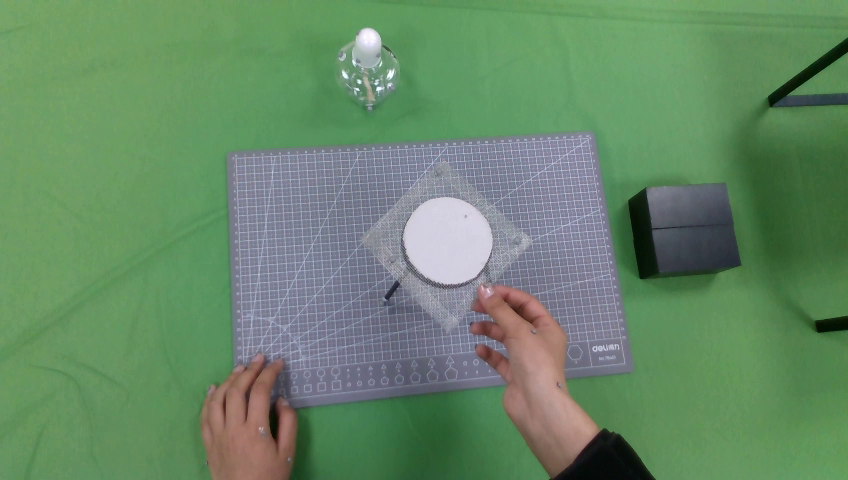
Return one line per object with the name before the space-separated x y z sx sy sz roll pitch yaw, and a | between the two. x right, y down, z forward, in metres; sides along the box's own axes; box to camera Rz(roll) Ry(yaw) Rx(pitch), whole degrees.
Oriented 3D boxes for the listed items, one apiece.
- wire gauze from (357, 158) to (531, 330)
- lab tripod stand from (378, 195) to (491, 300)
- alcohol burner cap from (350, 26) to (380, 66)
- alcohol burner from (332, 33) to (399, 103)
wire gauze | 0.020 0.000 0.578 0.125 0.011 0.121 45 77 4
lab tripod stand | 0.018 0.015 0.644 0.149 0.132 0.147 2 76 -7
alcohol burner cap | -0.064 -0.214 0.662 0.034 0.048 0.034 1 82 -9
alcohol burner | -0.066 -0.207 0.696 0.078 0.119 0.077 2 77 -7
